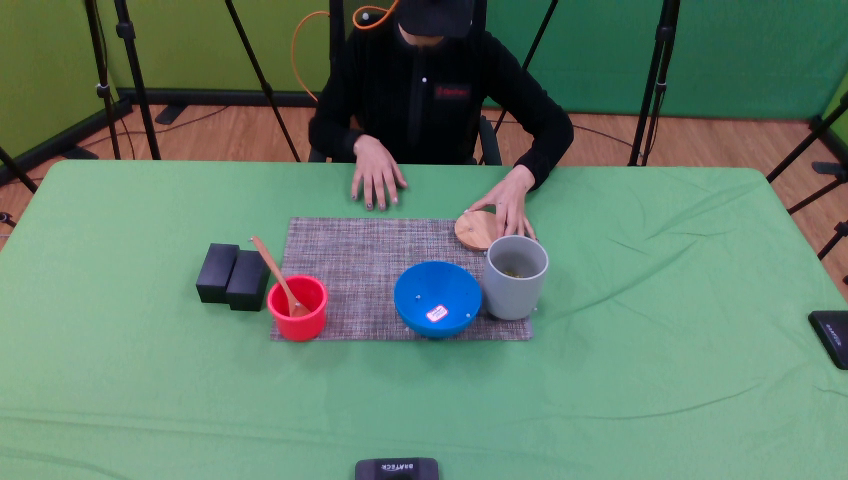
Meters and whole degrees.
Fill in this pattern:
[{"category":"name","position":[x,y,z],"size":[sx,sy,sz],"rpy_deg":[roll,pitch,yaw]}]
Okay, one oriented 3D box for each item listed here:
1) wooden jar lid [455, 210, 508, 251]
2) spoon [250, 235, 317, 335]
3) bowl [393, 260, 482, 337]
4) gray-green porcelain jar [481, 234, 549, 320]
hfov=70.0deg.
[{"category":"wooden jar lid","position":[0.115,-0.018,1.220],"size":[0.108,0.021,0.107],"rpy_deg":[3,47,-3]},{"category":"spoon","position":[-0.237,0.075,1.019],"size":[0.041,0.021,0.194],"rpy_deg":[-32,100,-32]},{"category":"bowl","position":[0.021,0.115,1.045],"size":[0.151,0.077,0.150],"rpy_deg":[2,46,-2]},{"category":"gray-green porcelain jar","position":[0.156,0.070,1.064],"size":[0.106,0.127,0.105],"rpy_deg":[2,46,-2]}]
